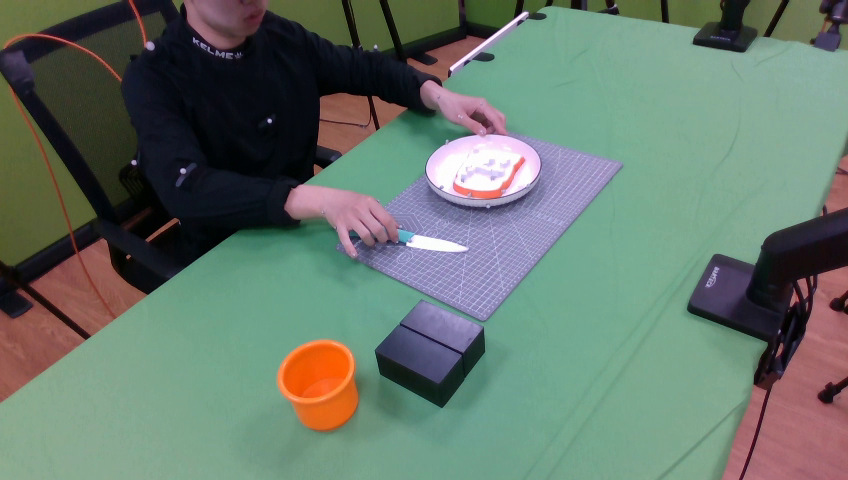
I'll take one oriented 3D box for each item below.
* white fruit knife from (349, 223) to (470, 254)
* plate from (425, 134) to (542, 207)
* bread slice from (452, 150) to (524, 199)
[{"bbox_3d":[-0.025,-0.001,0.977,0.206,0.016,0.027,11,75,17],"label":"white fruit knife"},{"bbox_3d":[0.106,-0.121,1.079,0.209,0.038,0.208,-4,41,4],"label":"plate"},{"bbox_3d":[0.111,-0.119,1.078,0.104,0.019,0.131,12,43,21],"label":"bread slice"}]
